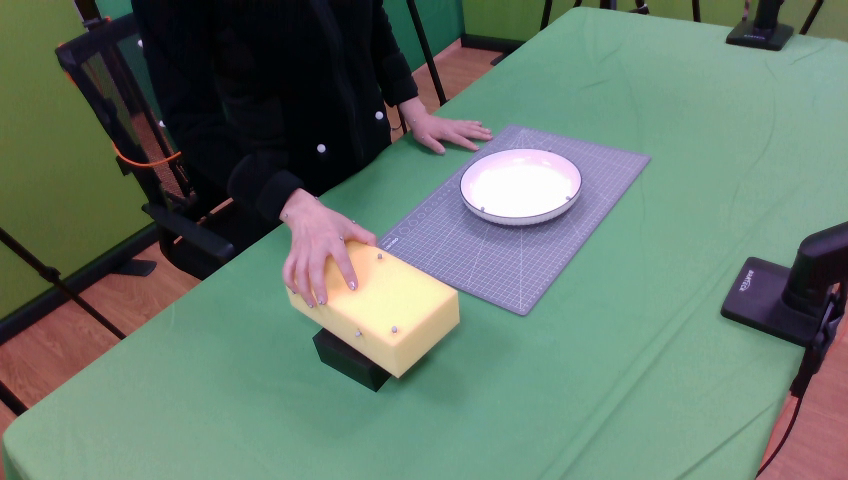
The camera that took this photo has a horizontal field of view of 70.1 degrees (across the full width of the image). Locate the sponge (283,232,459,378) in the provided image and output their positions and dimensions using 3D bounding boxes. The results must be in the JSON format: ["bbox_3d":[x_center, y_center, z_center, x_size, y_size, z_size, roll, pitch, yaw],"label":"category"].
[{"bbox_3d":[-0.071,0.078,0.796,0.205,0.061,0.118,26,49,32],"label":"sponge"}]

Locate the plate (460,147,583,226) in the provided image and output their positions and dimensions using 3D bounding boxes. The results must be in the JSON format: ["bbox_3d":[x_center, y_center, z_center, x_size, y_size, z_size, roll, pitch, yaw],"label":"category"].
[{"bbox_3d":[0.167,-0.089,1.043,0.209,0.038,0.208,-5,40,5],"label":"plate"}]
